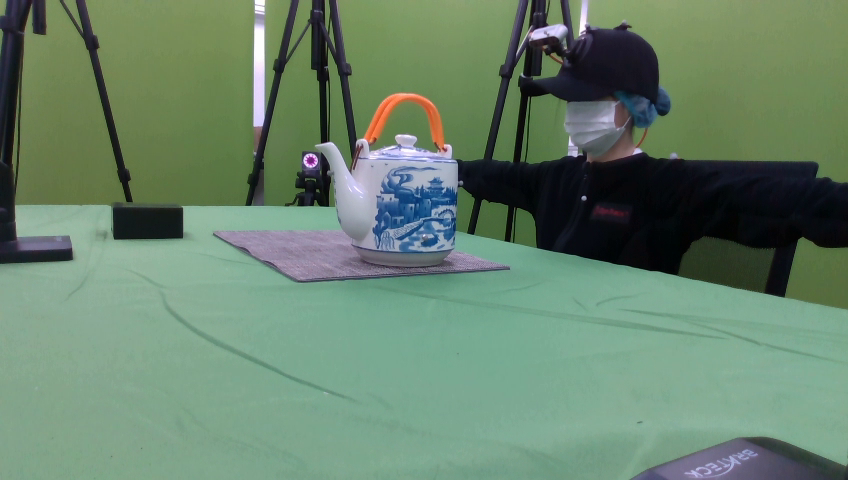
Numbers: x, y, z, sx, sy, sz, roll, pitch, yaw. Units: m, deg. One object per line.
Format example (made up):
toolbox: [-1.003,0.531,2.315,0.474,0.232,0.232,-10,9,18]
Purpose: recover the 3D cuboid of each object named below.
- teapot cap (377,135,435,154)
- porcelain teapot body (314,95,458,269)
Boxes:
teapot cap: [-0.024,-0.119,0.811,0.085,0.044,0.085,4,8,0]
porcelain teapot body: [-0.049,-0.079,0.800,0.206,0.225,0.144,-3,9,-37]
